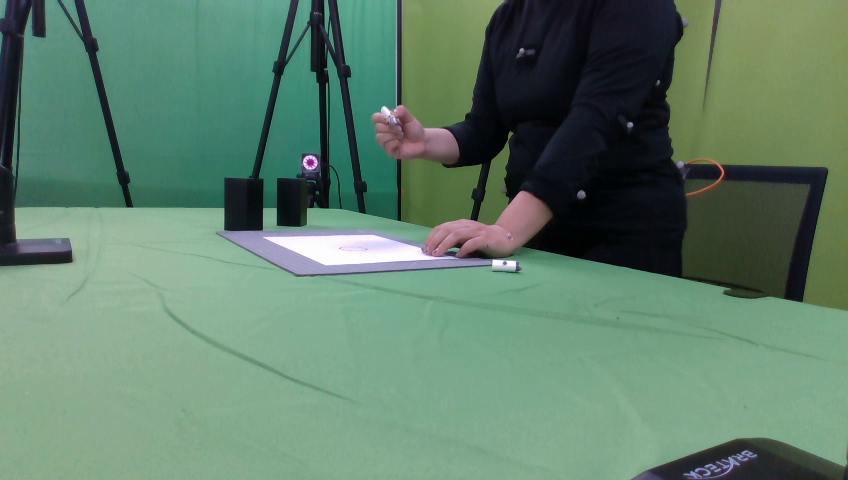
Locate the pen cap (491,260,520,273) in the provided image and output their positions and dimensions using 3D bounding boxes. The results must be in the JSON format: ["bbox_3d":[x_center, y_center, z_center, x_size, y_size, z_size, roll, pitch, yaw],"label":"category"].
[{"bbox_3d":[0.110,0.036,0.813,0.038,0.017,0.017,3,7,7],"label":"pen cap"}]

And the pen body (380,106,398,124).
[{"bbox_3d":[-0.063,-0.228,1.113,0.017,0.017,0.143,1,21,-13],"label":"pen body"}]
